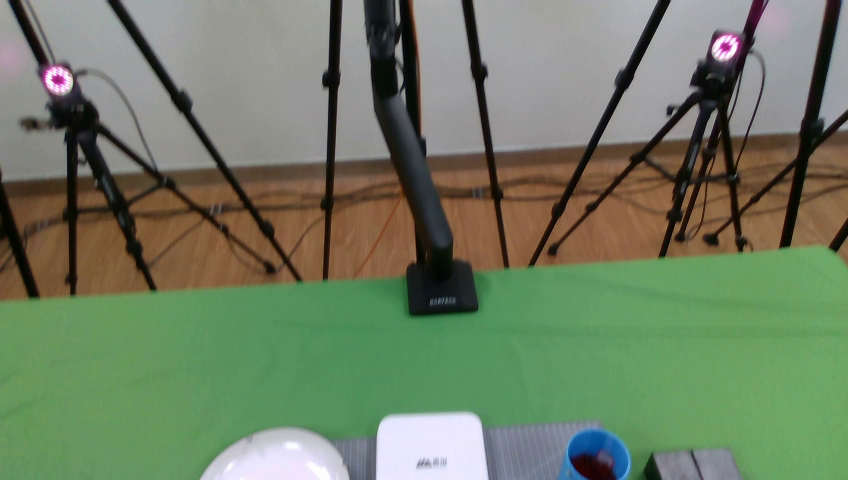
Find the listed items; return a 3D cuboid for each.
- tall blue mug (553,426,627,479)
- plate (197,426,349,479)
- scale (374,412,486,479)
[{"bbox_3d":[0.218,0.303,0.757,0.106,0.109,0.077,23,48,24],"label":"tall blue mug"},{"bbox_3d":[-0.196,0.342,0.779,0.209,0.038,0.207,-2,44,2],"label":"plate"},{"bbox_3d":[0.008,0.323,0.797,0.149,0.032,0.199,-3,44,-1],"label":"scale"}]
